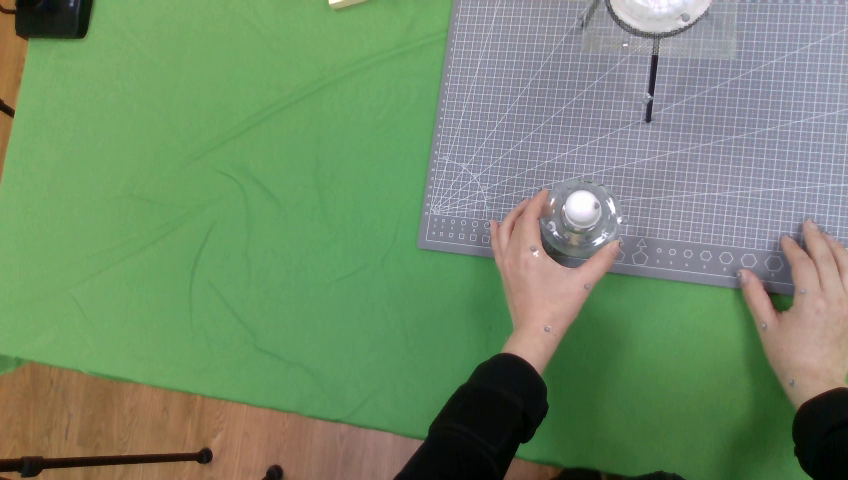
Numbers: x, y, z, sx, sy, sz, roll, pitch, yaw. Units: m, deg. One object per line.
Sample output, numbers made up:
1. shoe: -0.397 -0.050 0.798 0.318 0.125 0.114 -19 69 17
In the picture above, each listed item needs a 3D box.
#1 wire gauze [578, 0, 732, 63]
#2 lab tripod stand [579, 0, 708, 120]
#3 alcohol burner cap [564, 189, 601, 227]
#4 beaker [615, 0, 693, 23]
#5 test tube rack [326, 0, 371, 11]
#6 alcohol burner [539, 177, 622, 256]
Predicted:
1. wire gauze: 0.198 -0.213 0.511 0.125 0.011 0.121 7 88 12
2. lab tripod stand: 0.214 -0.204 0.574 0.148 0.132 0.148 -1 84 13
3. alcohol burner cap: 0.139 -0.030 0.535 0.034 0.048 0.034 -1 85 15
4. beaker: 0.180 -0.221 0.466 0.083 0.101 0.074 21 89 16
5. test tube rack: -0.013 -0.337 0.676 0.242 0.085 0.066 -10 80 13
6. alcohol burner: 0.148 -0.025 0.570 0.078 0.119 0.077 -1 83 11
